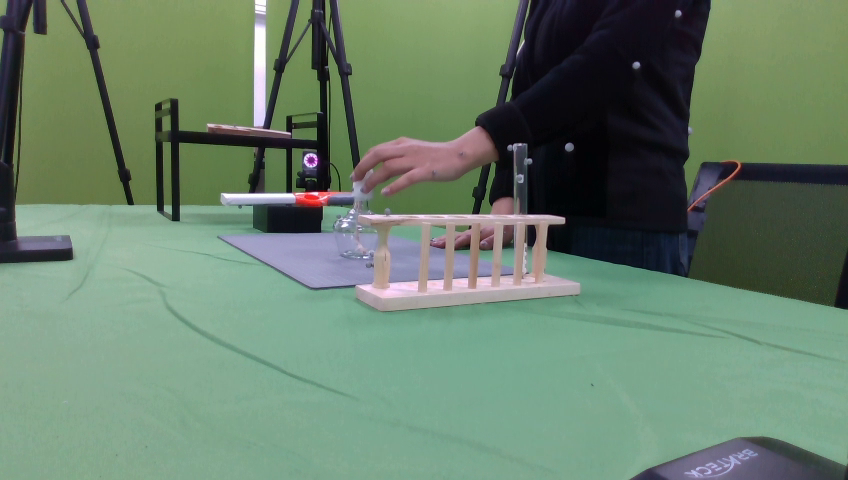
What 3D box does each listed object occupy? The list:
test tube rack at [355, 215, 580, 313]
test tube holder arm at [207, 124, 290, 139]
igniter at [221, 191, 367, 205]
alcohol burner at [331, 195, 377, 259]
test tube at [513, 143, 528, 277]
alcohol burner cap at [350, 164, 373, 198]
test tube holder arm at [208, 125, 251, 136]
[{"bbox_3d":[0.053,0.019,0.635,0.243,0.085,0.066,-1,8,-29],"label":"test tube rack"},{"bbox_3d":[-0.381,-0.238,1.327,0.179,0.015,0.013,0,42,-32],"label":"test tube holder arm"},{"bbox_3d":[-0.239,-0.078,1.149,0.278,0.025,0.057,-3,20,-31],"label":"igniter"},{"bbox_3d":[-0.091,-0.033,0.855,0.078,0.119,0.078,4,7,0],"label":"alcohol burner"},{"bbox_3d":[0.108,-0.033,0.677,0.017,0.150,0.017,-2,8,1],"label":"test tube"},{"bbox_3d":[-0.086,-0.083,0.848,0.034,0.048,0.034,4,8,0],"label":"alcohol burner cap"},{"bbox_3d":[-0.418,-0.234,1.300,0.088,0.015,0.010,1,41,-32],"label":"test tube holder arm"}]
